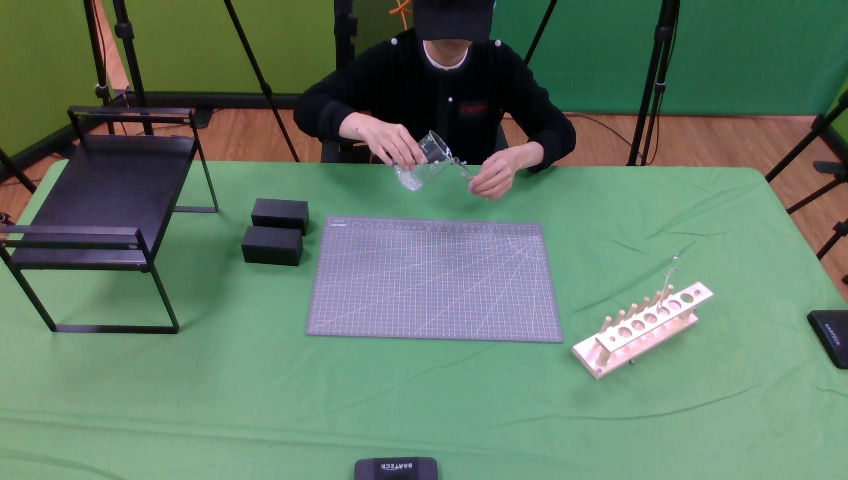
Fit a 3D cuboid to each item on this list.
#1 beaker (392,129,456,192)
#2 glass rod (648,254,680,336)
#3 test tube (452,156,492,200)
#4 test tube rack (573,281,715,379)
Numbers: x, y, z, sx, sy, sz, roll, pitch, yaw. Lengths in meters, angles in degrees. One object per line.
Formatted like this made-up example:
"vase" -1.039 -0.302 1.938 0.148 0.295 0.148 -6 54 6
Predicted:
"beaker" -0.001 -0.142 1.114 0.100 0.084 0.073 -37 51 16
"glass rod" 0.391 0.094 0.991 0.008 0.201 0.008 -1 44 2
"test tube" 0.097 -0.118 1.187 0.017 0.151 0.017 -17 55 27
"test tube rack" 0.378 0.140 1.038 0.242 0.085 0.066 -22 51 -23
